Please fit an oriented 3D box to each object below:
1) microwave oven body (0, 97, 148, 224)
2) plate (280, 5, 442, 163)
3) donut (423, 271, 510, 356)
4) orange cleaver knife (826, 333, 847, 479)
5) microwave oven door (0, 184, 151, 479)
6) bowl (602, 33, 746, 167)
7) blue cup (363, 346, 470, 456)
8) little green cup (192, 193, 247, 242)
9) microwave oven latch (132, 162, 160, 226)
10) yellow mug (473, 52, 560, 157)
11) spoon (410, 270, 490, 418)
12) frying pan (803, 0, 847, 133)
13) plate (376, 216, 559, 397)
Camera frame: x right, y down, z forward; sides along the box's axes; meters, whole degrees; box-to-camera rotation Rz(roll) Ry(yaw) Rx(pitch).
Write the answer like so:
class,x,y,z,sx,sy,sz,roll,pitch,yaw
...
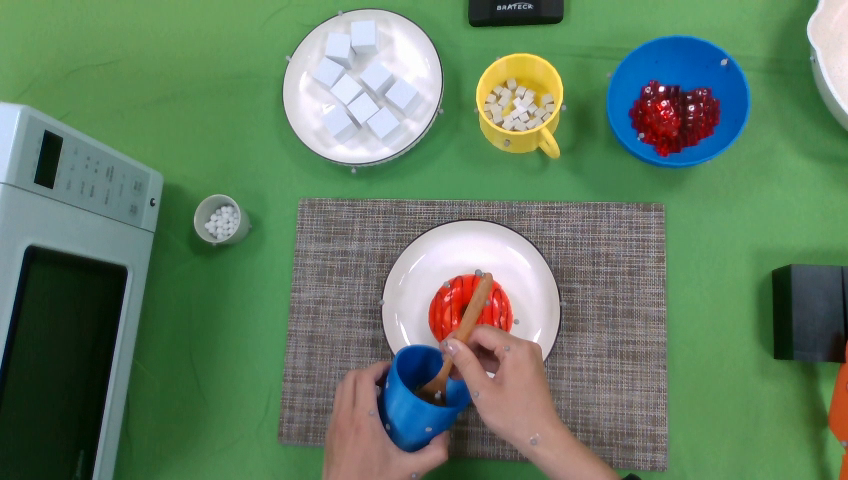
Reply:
class,x,y,z,sx,sy,sz,roll,pitch,yaw
microwave oven body,-0.539,0.086,0.675,0.325,0.261,0.440,5,82,9
plate,-0.078,-0.195,0.773,0.207,0.039,0.207,-1,80,8
donut,0.048,0.084,0.694,0.099,0.048,0.099,-1,84,10
orange cleaver knife,0.429,0.184,0.615,0.012,0.077,0.212,1,110,9
microwave oven door,-0.401,0.139,0.641,0.039,0.245,0.354,4,81,9
bowl,0.276,-0.148,0.694,0.151,0.077,0.151,-1,81,8
blue cup,-0.015,0.169,0.607,0.092,0.093,0.100,47,131,13
little green cup,-0.258,-0.026,0.770,0.061,0.039,0.061,-1,82,7
microwave oven latch,-0.361,-0.059,0.772,0.030,0.029,0.079,8,83,9
yellow mug,0.119,-0.152,0.724,0.100,0.064,0.130,-35,78,2
spoon,0.021,0.111,0.571,0.041,0.021,0.194,27,117,6
frying pan,0.551,-0.114,0.635,0.306,0.103,0.485,7,74,10
plate,0.049,0.077,0.706,0.209,0.038,0.208,-1,81,8
